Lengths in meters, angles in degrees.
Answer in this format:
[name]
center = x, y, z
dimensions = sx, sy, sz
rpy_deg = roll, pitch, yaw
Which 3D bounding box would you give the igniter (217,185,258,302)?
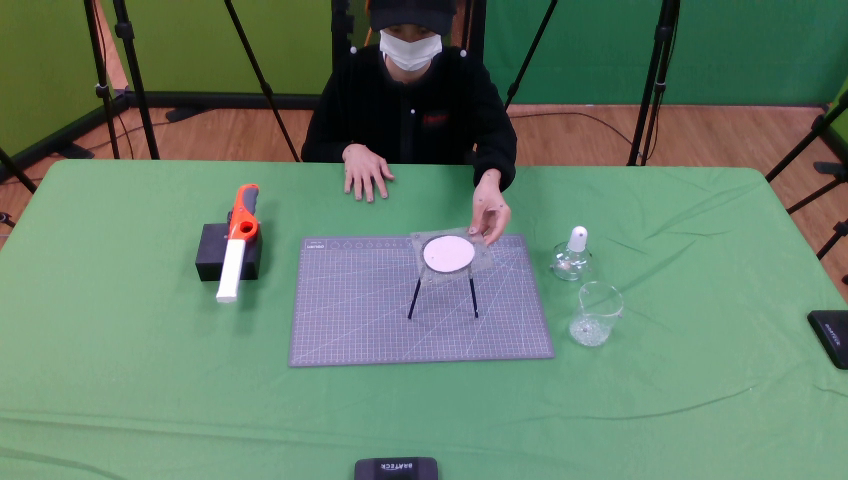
[igniter]
center = -0.339, -0.003, 1.106
dimensions = 0.057, 0.025, 0.274
rpy_deg = 1, 49, -6

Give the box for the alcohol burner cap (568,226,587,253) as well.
[alcohol burner cap]
center = 0.284, -0.003, 1.112
dimensions = 0.034, 0.048, 0.033
rpy_deg = 1, 41, -1

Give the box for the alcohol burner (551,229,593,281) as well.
[alcohol burner]
center = 0.281, 0.021, 1.137
dimensions = 0.078, 0.120, 0.077
rpy_deg = 1, 48, -1

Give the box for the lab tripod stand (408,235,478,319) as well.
[lab tripod stand]
center = 0.032, 0.065, 1.057
dimensions = 0.148, 0.132, 0.147
rpy_deg = 1, 45, -1

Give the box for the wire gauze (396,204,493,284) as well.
[wire gauze]
center = 0.032, 0.006, 0.994
dimensions = 0.125, 0.011, 0.120
rpy_deg = -29, 52, -13

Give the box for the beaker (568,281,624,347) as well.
[beaker]
center = 0.290, 0.132, 1.040
dimensions = 0.084, 0.101, 0.073
rpy_deg = -34, 57, -31
